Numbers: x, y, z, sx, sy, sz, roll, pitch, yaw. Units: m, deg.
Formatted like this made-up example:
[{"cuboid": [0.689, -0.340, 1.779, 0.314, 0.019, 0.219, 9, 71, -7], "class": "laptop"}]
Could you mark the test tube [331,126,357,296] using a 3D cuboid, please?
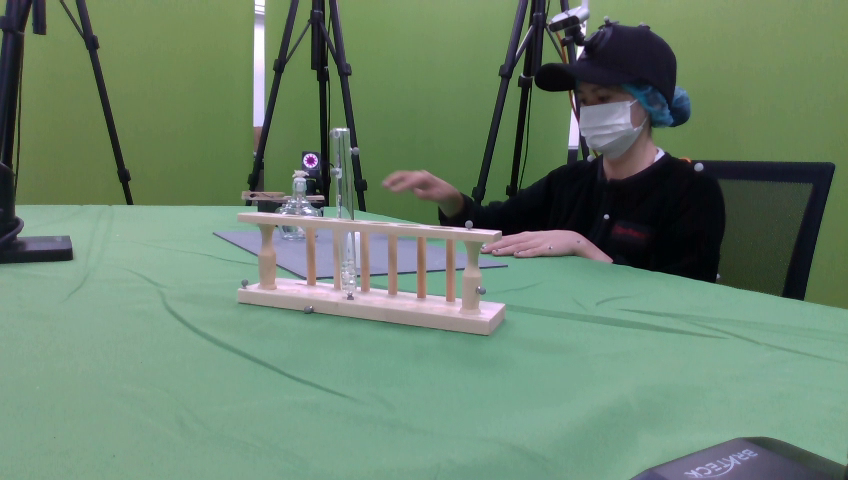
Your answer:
[{"cuboid": [-0.070, -0.025, 0.534, 0.017, 0.150, 0.017, -2, 8, 1], "class": "test tube"}]

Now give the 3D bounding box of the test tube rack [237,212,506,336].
[{"cuboid": [-0.049, 0.024, 0.552, 0.242, 0.085, 0.067, 5, 8, 19], "class": "test tube rack"}]

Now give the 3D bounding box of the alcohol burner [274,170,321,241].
[{"cuboid": [-0.212, -0.058, 1.015, 0.078, 0.119, 0.078, 4, 5, 0], "class": "alcohol burner"}]

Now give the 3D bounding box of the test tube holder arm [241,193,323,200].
[{"cuboid": [-0.290, -0.090, 1.253, 0.179, 0.013, 0.015, -4, 9, -39], "class": "test tube holder arm"}]

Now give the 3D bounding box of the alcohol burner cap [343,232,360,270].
[{"cuboid": [-0.087, 0.013, 0.776, 0.034, 0.048, 0.034, 3, 7, 0], "class": "alcohol burner cap"}]

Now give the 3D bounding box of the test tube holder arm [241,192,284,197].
[{"cuboid": [-0.325, -0.093, 1.223, 0.088, 0.010, 0.015, -4, 9, -39], "class": "test tube holder arm"}]
